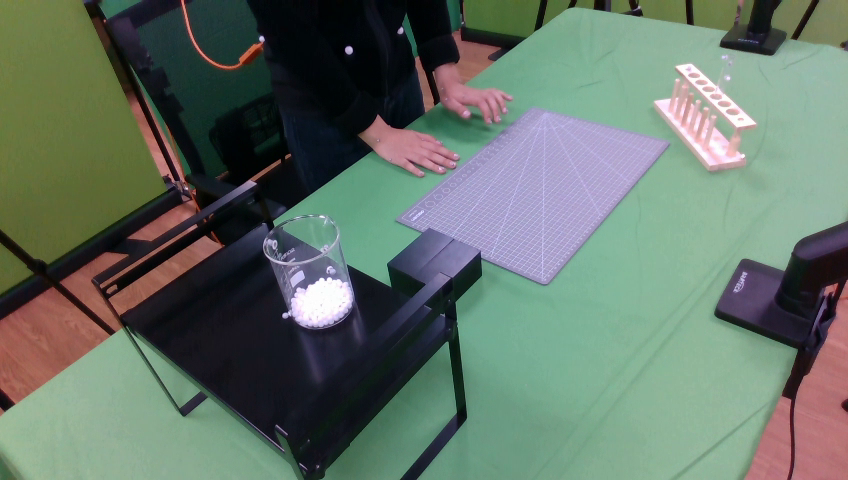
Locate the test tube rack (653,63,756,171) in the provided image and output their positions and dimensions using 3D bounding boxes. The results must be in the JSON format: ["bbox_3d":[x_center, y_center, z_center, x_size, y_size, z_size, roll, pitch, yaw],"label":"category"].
[{"bbox_3d":[0.510,-0.233,1.120,0.067,0.085,0.241,-9,41,-1],"label":"test tube rack"}]

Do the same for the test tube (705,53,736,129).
[{"bbox_3d":[0.525,-0.260,1.074,0.017,0.151,0.017,-2,44,3],"label":"test tube"}]

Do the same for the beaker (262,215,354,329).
[{"bbox_3d":[-0.112,0.034,0.616,0.073,0.101,0.084,13,44,23],"label":"beaker"}]
